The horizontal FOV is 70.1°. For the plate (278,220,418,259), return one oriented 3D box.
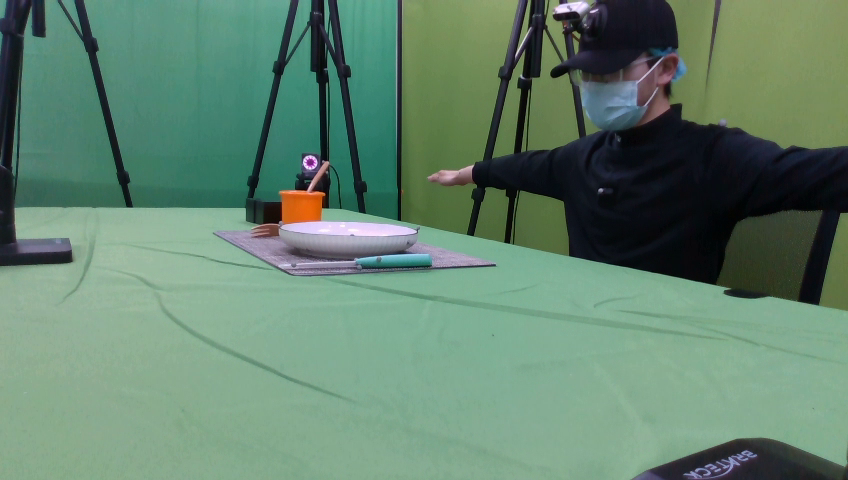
[{"bbox_3d":[-0.114,-0.002,0.914,0.209,0.038,0.209,2,7,0],"label":"plate"}]

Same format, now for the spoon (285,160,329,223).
[{"bbox_3d":[-0.237,-0.101,1.253,0.041,0.193,0.022,3,-37,24],"label":"spoon"}]

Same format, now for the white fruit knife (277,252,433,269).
[{"bbox_3d":[-0.082,0.029,0.772,0.208,0.016,0.027,-3,-20,-22],"label":"white fruit knife"}]

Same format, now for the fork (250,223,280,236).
[{"bbox_3d":[-0.194,-0.014,1.051,0.208,0.028,0.018,3,38,-14],"label":"fork"}]
